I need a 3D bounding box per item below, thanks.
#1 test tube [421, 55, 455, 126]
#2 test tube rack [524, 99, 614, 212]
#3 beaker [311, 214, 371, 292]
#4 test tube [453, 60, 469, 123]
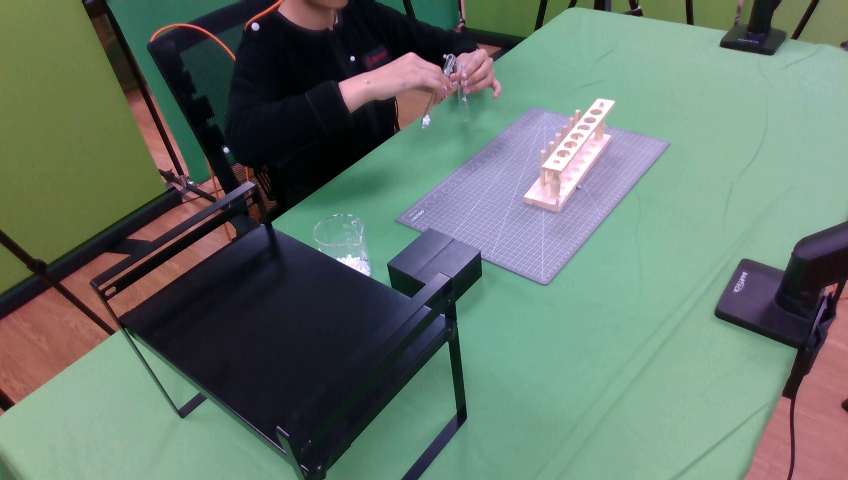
[{"bbox_3d":[0.025,-0.262,1.057,0.017,0.017,0.150,12,68,22],"label":"test tube"},{"bbox_3d":[0.259,-0.158,1.069,0.066,0.085,0.243,19,47,28],"label":"test tube rack"},{"bbox_3d":[-0.118,0.022,0.908,0.083,0.101,0.074,26,51,32],"label":"beaker"},{"bbox_3d":[0.072,-0.281,1.162,0.017,0.151,0.017,-5,54,8],"label":"test tube"}]
